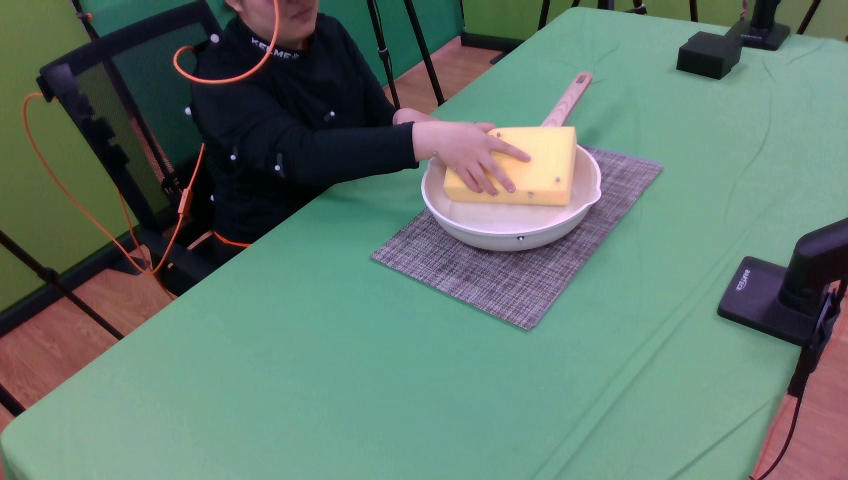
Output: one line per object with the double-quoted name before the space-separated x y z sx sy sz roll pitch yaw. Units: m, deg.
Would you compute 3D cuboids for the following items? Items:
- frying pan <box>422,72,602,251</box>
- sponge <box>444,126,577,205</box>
"frying pan" 0.199 -0.155 1.062 0.304 0.103 0.488 19 56 28
"sponge" 0.149 -0.127 1.028 0.206 0.061 0.118 3 70 19
